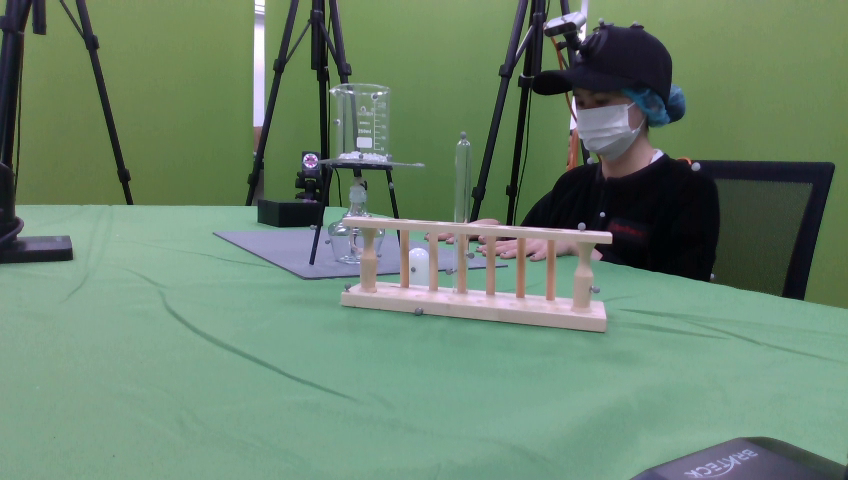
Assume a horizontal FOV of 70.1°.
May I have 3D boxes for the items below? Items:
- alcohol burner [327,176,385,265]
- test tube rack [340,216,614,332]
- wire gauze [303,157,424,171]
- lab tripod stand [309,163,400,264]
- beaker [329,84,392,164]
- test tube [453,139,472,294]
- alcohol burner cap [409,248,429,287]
[{"bbox_3d":[-0.090,-0.027,0.811,0.078,0.119,0.078,3,5,0],"label":"alcohol burner"},{"bbox_3d":[0.048,0.026,0.568,0.242,0.085,0.067,4,8,13],"label":"test tube rack"},{"bbox_3d":[-0.082,-0.101,0.799,0.126,0.011,0.121,1,7,-30],"label":"wire gauze"},{"bbox_3d":[-0.091,-0.037,0.813,0.148,0.131,0.148,1,6,0],"label":"lab tripod stand"},{"bbox_3d":[-0.084,-0.149,0.794,0.084,0.100,0.073,-1,6,-23],"label":"beaker"},{"bbox_3d":[0.037,-0.021,0.584,0.017,0.150,0.017,1,7,0],"label":"test tube"},{"bbox_3d":[-0.008,0.032,0.674,0.034,0.048,0.034,3,6,0],"label":"alcohol burner cap"}]
